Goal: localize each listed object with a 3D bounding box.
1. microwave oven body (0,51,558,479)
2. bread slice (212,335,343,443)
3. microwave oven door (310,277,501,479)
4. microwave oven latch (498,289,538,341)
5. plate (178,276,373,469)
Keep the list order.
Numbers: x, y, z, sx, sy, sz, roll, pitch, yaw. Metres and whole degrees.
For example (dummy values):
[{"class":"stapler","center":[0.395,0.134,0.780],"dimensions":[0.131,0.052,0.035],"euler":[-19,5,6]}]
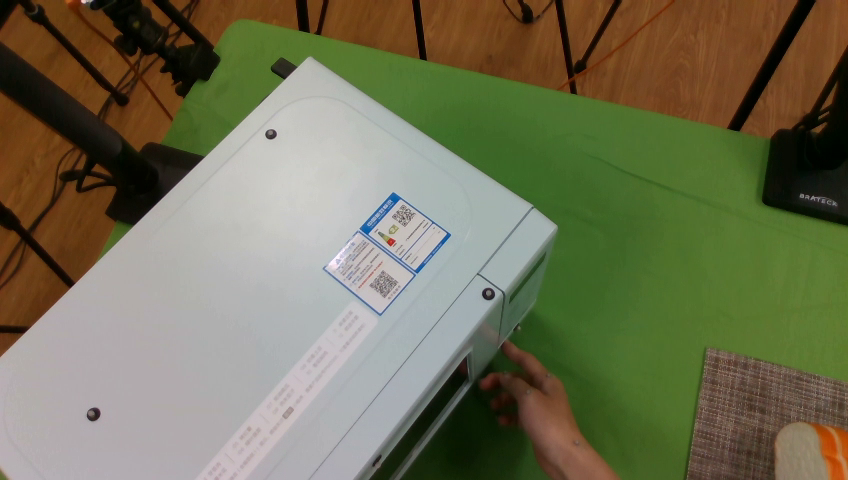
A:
[{"class":"microwave oven body","center":[-0.135,0.094,0.618],"dimensions":[0.324,0.262,0.441],"euler":[36,76,16]},{"class":"bread slice","center":[-0.159,0.168,0.659],"dimensions":[0.134,0.018,0.106],"euler":[-10,66,-11]},{"class":"microwave oven door","center":[-0.049,0.205,0.561],"dimensions":[0.039,0.245,0.355],"euler":[36,75,18]},{"class":"microwave oven latch","center":[0.099,0.082,0.707],"dimensions":[0.030,0.030,0.079],"euler":[40,77,17]},{"class":"plate","center":[-0.158,0.142,0.662],"dimensions":[0.208,0.039,0.206],"euler":[0,66,0]}]
